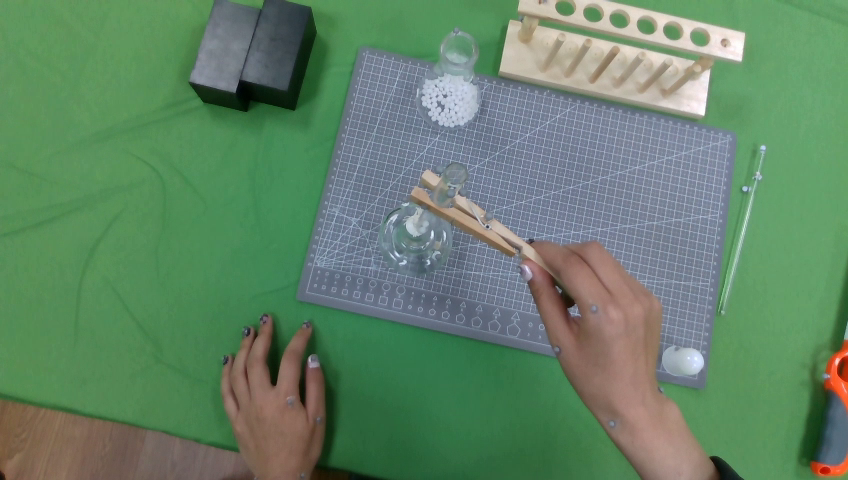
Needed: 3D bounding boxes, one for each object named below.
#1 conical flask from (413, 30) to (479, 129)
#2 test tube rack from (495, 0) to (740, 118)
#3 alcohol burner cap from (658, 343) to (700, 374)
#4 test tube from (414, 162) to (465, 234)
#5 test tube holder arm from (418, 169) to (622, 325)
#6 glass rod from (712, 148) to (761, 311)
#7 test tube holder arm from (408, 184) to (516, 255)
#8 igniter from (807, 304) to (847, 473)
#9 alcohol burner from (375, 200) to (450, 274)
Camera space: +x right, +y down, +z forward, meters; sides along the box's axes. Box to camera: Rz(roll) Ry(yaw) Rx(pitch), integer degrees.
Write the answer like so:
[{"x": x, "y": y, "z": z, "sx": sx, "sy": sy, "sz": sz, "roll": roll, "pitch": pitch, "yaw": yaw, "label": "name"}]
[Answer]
[{"x": 0.027, "y": -0.171, "z": 0.634, "sx": 0.075, "sy": 0.122, "sz": 0.075, "roll": 1, "pitch": 80, "yaw": -3, "label": "conical flask"}, {"x": 0.209, "y": -0.207, "z": 0.675, "sx": 0.242, "sy": 0.085, "sz": 0.066, "roll": 12, "pitch": 79, "yaw": -2, "label": "test tube rack"}, {"x": 0.272, "y": 0.124, "z": 0.639, "sx": 0.034, "sy": 0.048, "sz": 0.033, "roll": 1, "pitch": 79, "yaw": -3, "label": "alcohol burner cap"}, {"x": 0.009, "y": -0.027, "z": 0.452, "sx": 0.017, "sy": 0.150, "sz": 0.017, "roll": 2, "pitch": 78, "yaw": -8, "label": "test tube"}, {"x": 0.069, "y": 0.006, "z": 0.440, "sx": 0.178, "sy": 0.015, "sz": 0.013, "roll": 35, "pitch": 81, "yaw": 0, "label": "test tube holder arm"}, {"x": 0.356, "y": -0.013, "z": 0.689, "sx": 0.008, "sy": 0.008, "sz": 0.199, "roll": 19, "pitch": 82, "yaw": 0, "label": "glass rod"}, {"x": 0.029, "y": -0.014, "z": 0.439, "sx": 0.088, "sy": 0.015, "sz": 0.010, "roll": 28, "pitch": 80, "yaw": -1, "label": "test tube holder arm"}, {"x": 0.468, "y": 0.121, "z": 0.663, "sx": 0.057, "sy": 0.025, "sz": 0.275, "roll": 22, "pitch": 79, "yaw": -10, "label": "igniter"}, {"x": -0.011, "y": -0.006, "z": 0.608, "sx": 0.078, "sy": 0.119, "sz": 0.077, "roll": 0, "pitch": 78, "yaw": -2, "label": "alcohol burner"}]
